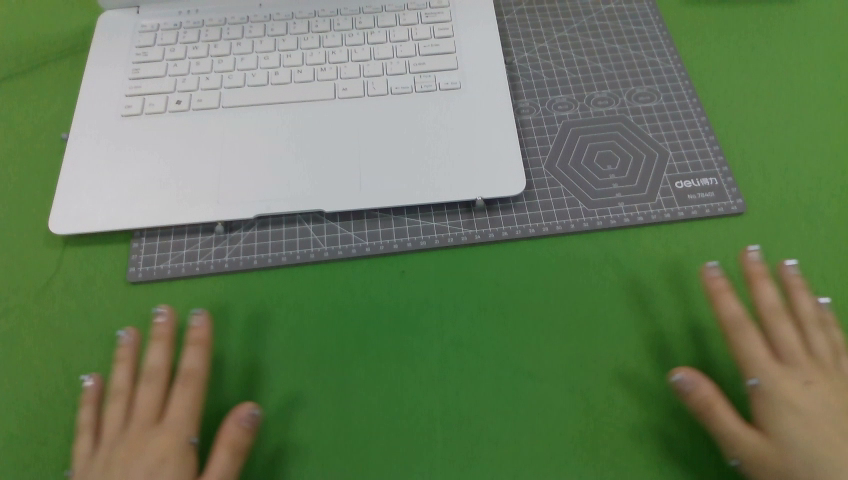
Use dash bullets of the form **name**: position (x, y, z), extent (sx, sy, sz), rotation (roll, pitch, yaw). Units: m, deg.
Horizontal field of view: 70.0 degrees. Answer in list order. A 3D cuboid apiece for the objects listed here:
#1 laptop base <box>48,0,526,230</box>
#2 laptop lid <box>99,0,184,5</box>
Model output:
- **laptop base**: position (-0.108, -0.122, 0.498), extent (0.354, 0.023, 0.233), rotation (-5, 65, -1)
- **laptop lid**: position (-0.123, -0.299, 0.460), extent (0.357, 0.244, 0.013), rotation (-6, 52, 0)
